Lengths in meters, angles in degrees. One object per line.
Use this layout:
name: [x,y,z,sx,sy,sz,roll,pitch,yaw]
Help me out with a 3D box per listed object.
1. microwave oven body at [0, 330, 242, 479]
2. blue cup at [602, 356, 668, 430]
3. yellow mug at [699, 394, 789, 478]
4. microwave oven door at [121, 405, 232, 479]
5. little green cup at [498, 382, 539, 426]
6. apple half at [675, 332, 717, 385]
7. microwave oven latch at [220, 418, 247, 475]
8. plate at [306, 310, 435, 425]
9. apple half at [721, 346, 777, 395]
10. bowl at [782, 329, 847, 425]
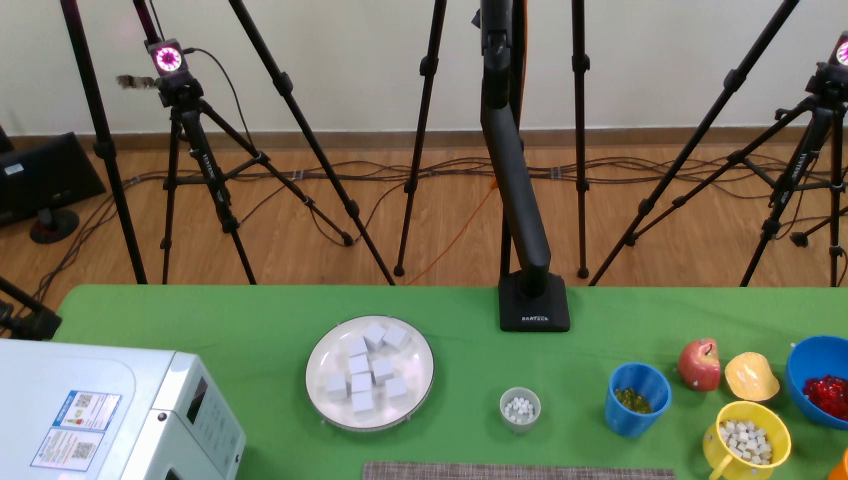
microwave oven body: [-0.454,0.361,0.711,0.326,0.262,0.437,3,49,5]
blue cup: [0.305,0.233,0.897,0.092,0.101,0.091,-1,50,2]
yellow mug: [0.445,0.289,0.864,0.131,0.064,0.099,-33,55,-22]
microwave oven door: [-0.313,0.396,0.666,0.039,0.246,0.352,3,49,6]
little green cup: [0.144,0.254,0.930,0.061,0.039,0.061,-2,48,2]
apple half: [0.423,0.186,0.952,0.053,0.075,0.080,2,52,11]
microwave oven latch: [-0.285,0.300,0.886,0.030,0.030,0.078,6,50,8]
plate: [-0.085,0.207,0.983,0.207,0.039,0.205,-1,48,2]
apple half: [0.506,0.210,0.953,0.081,0.033,0.080,-5,62,9]
bowl: [0.609,0.217,0.911,0.151,0.077,0.150,-2,49,2]
